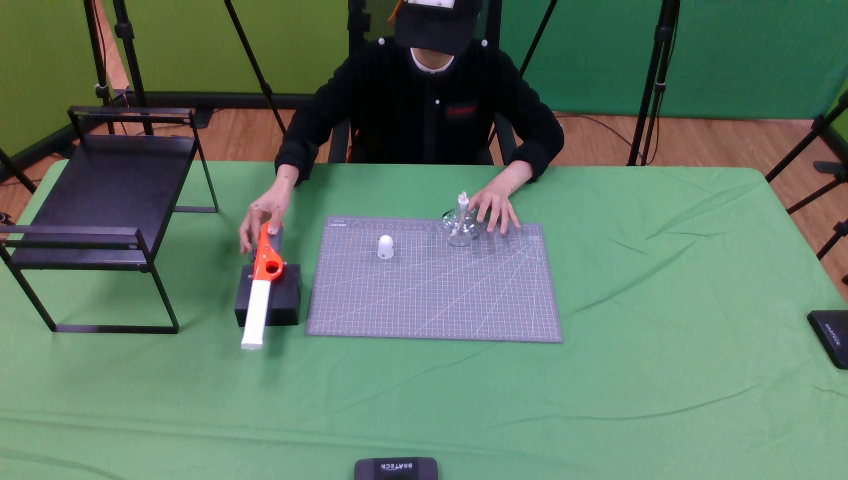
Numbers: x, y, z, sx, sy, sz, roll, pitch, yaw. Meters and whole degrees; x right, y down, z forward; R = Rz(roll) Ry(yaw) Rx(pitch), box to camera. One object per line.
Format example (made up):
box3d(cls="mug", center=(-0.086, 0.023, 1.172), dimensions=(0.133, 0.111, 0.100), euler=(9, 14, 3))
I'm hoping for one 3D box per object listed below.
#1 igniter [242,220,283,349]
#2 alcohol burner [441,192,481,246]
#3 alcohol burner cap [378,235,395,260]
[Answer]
box3d(cls="igniter", center=(-0.276, 0.066, 1.043), dimensions=(0.057, 0.025, 0.274), euler=(6, 46, -11))
box3d(cls="alcohol burner", center=(0.073, -0.046, 1.176), dimensions=(0.078, 0.119, 0.077), euler=(2, 44, -2))
box3d(cls="alcohol burner cap", center=(-0.073, 0.012, 1.160), dimensions=(0.034, 0.048, 0.033), euler=(1, 46, 0))
